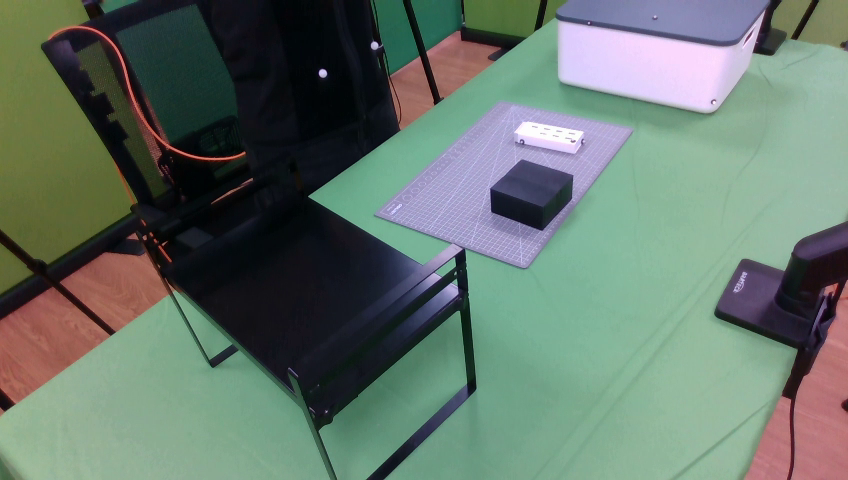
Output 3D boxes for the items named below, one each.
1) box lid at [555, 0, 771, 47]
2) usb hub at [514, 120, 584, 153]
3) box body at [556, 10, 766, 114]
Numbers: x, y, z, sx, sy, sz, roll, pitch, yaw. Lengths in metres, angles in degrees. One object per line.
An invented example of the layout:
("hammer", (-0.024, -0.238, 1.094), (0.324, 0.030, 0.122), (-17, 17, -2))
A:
("box lid", (0.481, -0.475, 1.236), (0.368, 0.015, 0.264), (22, 49, 30))
("usb hub", (0.240, -0.200, 1.165), (0.124, 0.025, 0.049), (17, 46, 26))
("box body", (0.491, -0.419, 1.283), (0.361, 0.161, 0.255), (22, 49, 30))
